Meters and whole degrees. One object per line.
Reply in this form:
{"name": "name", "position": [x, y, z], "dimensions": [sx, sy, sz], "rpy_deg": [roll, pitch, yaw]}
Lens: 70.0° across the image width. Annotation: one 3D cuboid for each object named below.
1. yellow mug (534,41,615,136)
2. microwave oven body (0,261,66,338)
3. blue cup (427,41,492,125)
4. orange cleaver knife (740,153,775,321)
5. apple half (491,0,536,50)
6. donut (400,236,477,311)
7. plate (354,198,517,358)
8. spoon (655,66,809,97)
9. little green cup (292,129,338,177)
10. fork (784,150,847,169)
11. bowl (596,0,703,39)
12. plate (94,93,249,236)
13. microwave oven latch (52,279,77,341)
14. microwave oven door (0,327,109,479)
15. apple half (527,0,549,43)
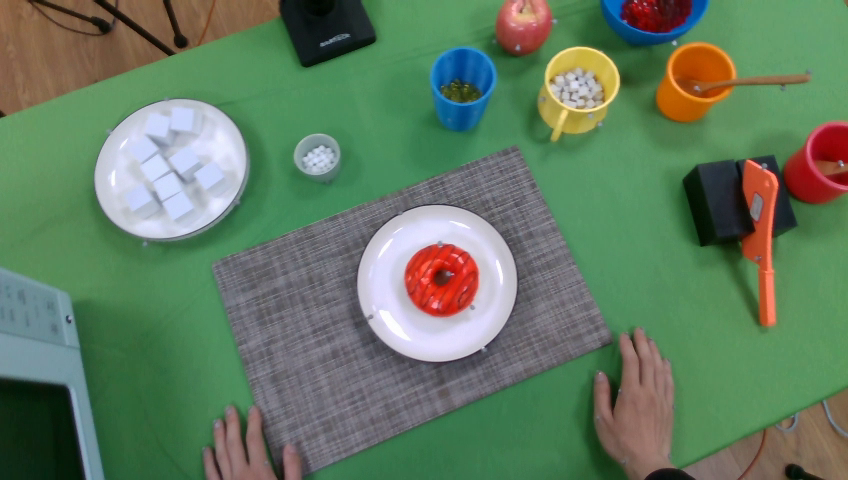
{"name": "yellow mug", "position": [0.201, -0.202, 0.838], "dimensions": [0.100, 0.064, 0.130], "rpy_deg": [25, 77, 7]}
{"name": "microwave oven body", "position": [-0.547, 0.272, 0.616], "dimensions": [0.326, 0.261, 0.439], "rpy_deg": [-19, 75, -5]}
{"name": "blue cup", "position": [0.046, -0.204, 0.824], "dimensions": [0.092, 0.100, 0.092], "rpy_deg": [0, 76, 0]}
{"name": "orange cleaver knife", "position": [0.422, -0.003, 0.770], "dimensions": [0.012, 0.077, 0.212], "rpy_deg": [-8, 104, 1]}
{"name": "apple half", "position": [0.123, -0.311, 0.867], "dimensions": [0.053, 0.075, 0.080], "rpy_deg": [-17, 78, 0]}
{"name": "donut", "position": [0.019, 0.043, 0.772], "dimensions": [0.099, 0.048, 0.098], "rpy_deg": [-1, 75, 3]}
{"name": "plate", "position": [0.015, 0.048, 0.783], "dimensions": [0.209, 0.038, 0.208], "rpy_deg": [0, 75, 1]}
{"name": "spoon", "position": [0.395, -0.212, 0.795], "dimensions": [0.022, 0.192, 0.041], "rpy_deg": [35, 74, -35]}
{"name": "little green cup", "position": [-0.148, -0.118, 0.836], "dimensions": [0.061, 0.039, 0.061], "rpy_deg": [0, 74, 2]}
{"name": "fork", "position": [0.567, -0.097, 0.761], "dimensions": [0.205, 0.019, 0.028], "rpy_deg": [13, 56, 49]}
{"name": "bowl", "position": [0.313, -0.344, 0.869], "dimensions": [0.151, 0.077, 0.150], "rpy_deg": [0, 75, 1]}
{"name": "plate", "position": [-0.341, -0.102, 0.835], "dimensions": [0.208, 0.039, 0.206], "rpy_deg": [0, 74, 1]}
{"name": "microwave oven latch", "position": [-0.464, 0.091, 0.764], "dimensions": [0.030, 0.029, 0.078], "rpy_deg": [-17, 76, -4]}
{"name": "microwave oven door", "position": [-0.395, 0.261, 0.610], "dimensions": [0.039, 0.245, 0.353], "rpy_deg": [-19, 75, -4]}
{"name": "apple half", "position": [0.160, -0.323, 0.867], "dimensions": [0.033, 0.082, 0.081], "rpy_deg": [-17, 74, -1]}
